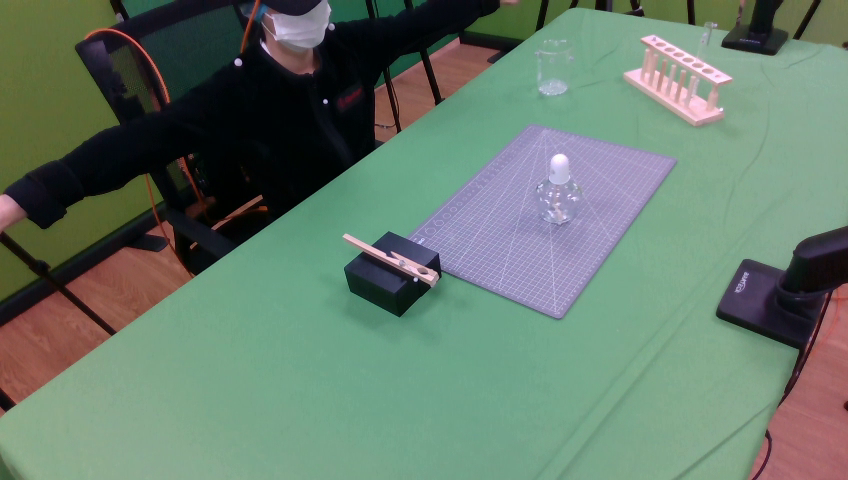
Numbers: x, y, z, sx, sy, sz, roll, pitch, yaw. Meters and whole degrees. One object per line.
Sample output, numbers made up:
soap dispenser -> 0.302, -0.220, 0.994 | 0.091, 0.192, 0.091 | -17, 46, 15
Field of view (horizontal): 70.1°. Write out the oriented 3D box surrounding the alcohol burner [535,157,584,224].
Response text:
alcohol burner -> 0.217, -0.085, 0.967 | 0.078, 0.119, 0.077 | -3, 41, 3

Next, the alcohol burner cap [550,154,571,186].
alcohol burner cap -> 0.212, -0.112, 0.944 | 0.034, 0.048, 0.033 | -7, 44, 7

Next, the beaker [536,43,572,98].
beaker -> 0.280, -0.368, 1.311 | 0.074, 0.101, 0.084 | 4, 41, 14

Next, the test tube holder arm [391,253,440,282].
test tube holder arm -> -0.015, 0.039, 0.858 | 0.087, 0.015, 0.010 | 22, 56, 32

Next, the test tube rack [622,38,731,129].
test tube rack -> 0.506, -0.325, 1.234 | 0.067, 0.085, 0.240 | -18, 41, -11

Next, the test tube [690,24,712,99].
test tube -> 0.534, -0.344, 1.174 | 0.017, 0.151, 0.017 | -2, 39, 2

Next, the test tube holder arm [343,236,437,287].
test tube holder arm -> -0.054, 0.029, 0.879 | 0.177, 0.015, 0.013 | 22, 56, 32
